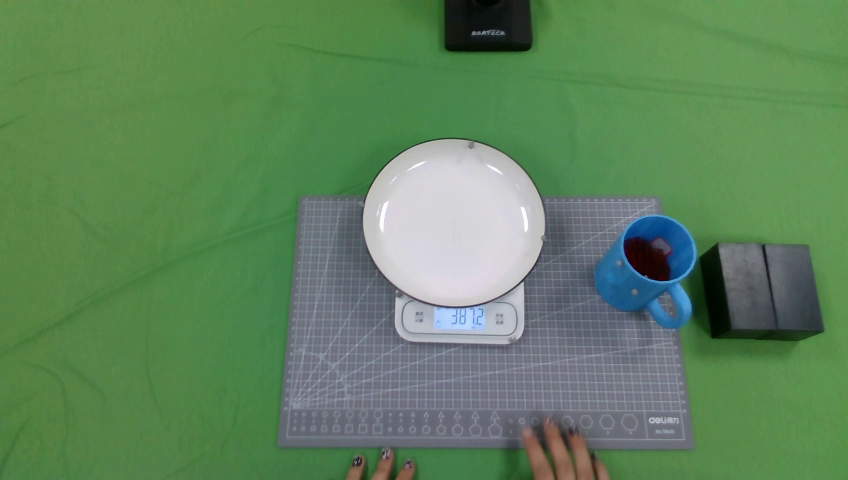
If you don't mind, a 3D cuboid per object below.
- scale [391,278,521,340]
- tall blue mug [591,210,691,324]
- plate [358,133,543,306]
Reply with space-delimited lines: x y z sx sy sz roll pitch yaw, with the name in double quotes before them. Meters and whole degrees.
"scale" 0.039 0.015 0.713 0.149 0.032 0.199 2 71 1
"tall blue mug" 0.247 0.032 0.666 0.107 0.108 0.077 36 74 12
"plate" 0.030 -0.023 0.691 0.209 0.038 0.207 0 71 -1
